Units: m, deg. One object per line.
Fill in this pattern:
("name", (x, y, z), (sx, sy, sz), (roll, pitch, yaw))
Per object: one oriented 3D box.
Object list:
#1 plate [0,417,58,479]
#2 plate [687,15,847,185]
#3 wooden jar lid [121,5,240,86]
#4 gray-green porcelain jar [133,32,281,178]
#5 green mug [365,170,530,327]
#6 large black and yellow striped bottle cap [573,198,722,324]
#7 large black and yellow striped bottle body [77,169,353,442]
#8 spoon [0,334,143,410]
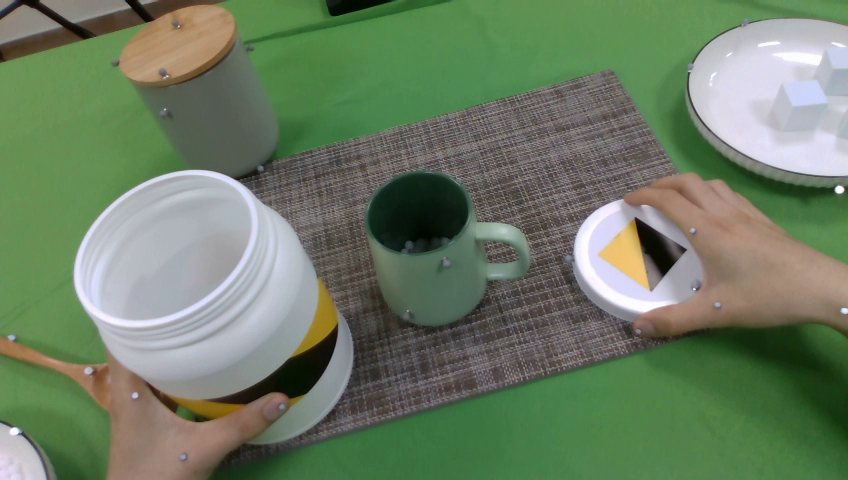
("plate", (-0.354, 0.228, 0.427), (0.209, 0.038, 0.207), (-4, 55, 6))
("plate", (0.349, -0.127, 0.556), (0.207, 0.039, 0.205), (-4, 56, 7))
("wooden jar lid", (-0.215, -0.171, 0.543), (0.108, 0.021, 0.107), (-6, 54, 9))
("gray-green porcelain jar", (-0.205, -0.131, 0.592), (0.106, 0.128, 0.105), (-5, 51, 7))
("green mug", (0.019, 0.009, 0.471), (0.125, 0.106, 0.092), (3, 56, 11))
("large black and yellow striped bottle cap", (0.181, 0.014, 0.495), (0.115, 0.019, 0.114), (-5, 54, 8))
("large black and yellow striped bottle body", (-0.132, 0.051, 0.418), (0.130, 0.186, 0.129), (-4, 56, 7))
("spoon", (-0.314, 0.103, 0.515), (0.193, 0.022, 0.041), (13, 75, 17))
